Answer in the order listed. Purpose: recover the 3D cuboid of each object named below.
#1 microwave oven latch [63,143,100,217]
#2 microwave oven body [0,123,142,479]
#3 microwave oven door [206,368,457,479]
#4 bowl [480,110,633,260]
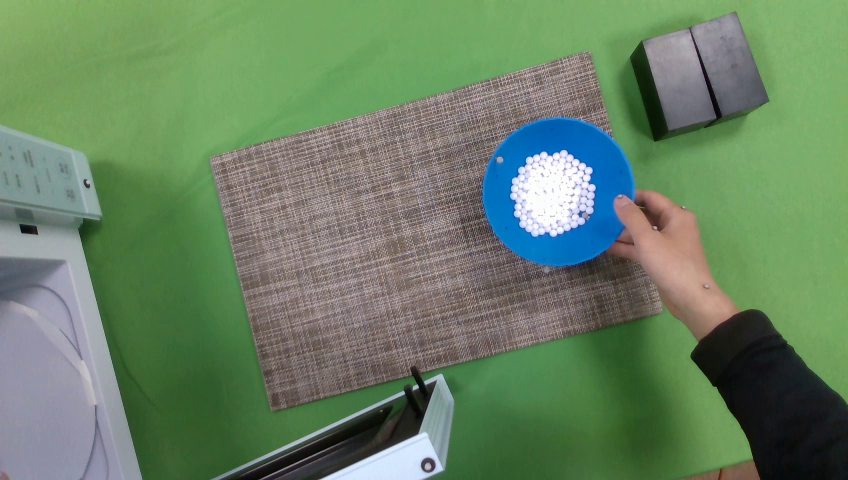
[{"bbox_3d":[-0.393,-0.067,0.680,0.030,0.029,0.079,-17,87,3],"label":"microwave oven latch"},{"bbox_3d":[-0.492,0.140,0.583,0.326,0.260,0.441,-17,87,3],"label":"microwave oven body"},{"bbox_3d":[-0.140,0.226,0.551,0.356,0.244,0.039,-26,85,3],"label":"microwave oven door"},{"bbox_3d":[0.134,-0.053,0.637,0.151,0.077,0.151,0,88,4],"label":"bowl"}]
